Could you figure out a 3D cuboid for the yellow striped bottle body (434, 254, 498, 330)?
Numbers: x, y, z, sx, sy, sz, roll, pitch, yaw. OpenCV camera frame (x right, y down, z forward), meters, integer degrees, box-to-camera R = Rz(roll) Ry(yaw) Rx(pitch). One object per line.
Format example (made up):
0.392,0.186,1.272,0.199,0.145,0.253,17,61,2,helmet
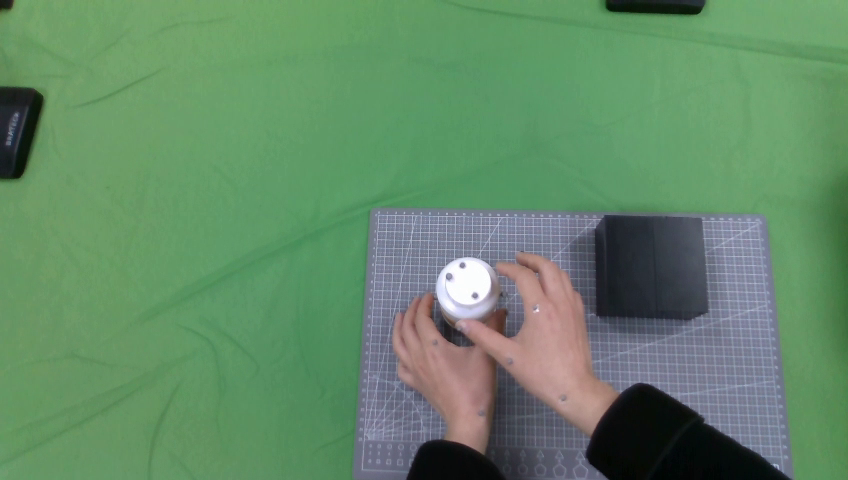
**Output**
0.042,0.053,0.618,0.063,0.121,0.062,-1,74,3,yellow striped bottle body

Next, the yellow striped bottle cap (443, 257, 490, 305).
0.040,0.038,0.568,0.044,0.019,0.044,-1,76,5,yellow striped bottle cap
